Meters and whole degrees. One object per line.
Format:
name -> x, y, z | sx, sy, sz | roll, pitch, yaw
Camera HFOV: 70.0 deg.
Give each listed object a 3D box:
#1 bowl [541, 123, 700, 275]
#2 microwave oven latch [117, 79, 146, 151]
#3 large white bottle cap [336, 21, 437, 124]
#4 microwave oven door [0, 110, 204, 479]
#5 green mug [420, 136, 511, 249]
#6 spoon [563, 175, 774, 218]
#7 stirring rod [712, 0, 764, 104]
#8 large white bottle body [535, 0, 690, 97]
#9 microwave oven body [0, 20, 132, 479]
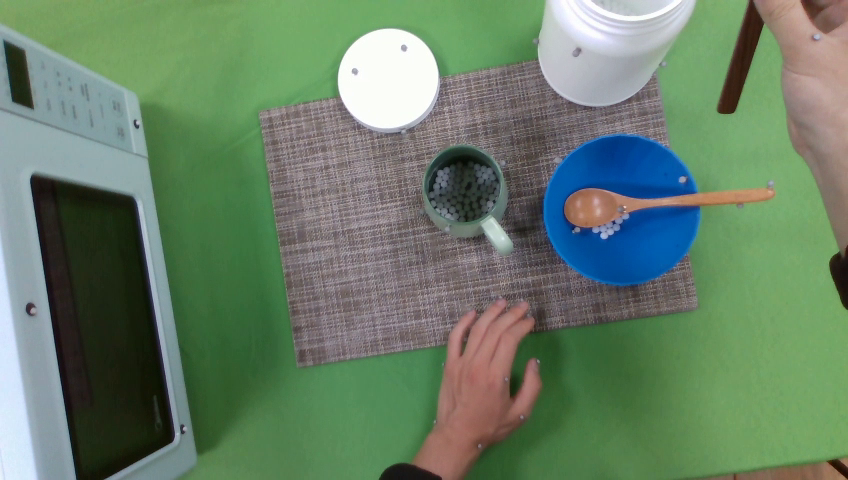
bowl -> 0.194, -0.038, 0.630 | 0.151, 0.077, 0.151 | 0, 89, 5
microwave oven latch -> -0.339, -0.138, 0.683 | 0.030, 0.029, 0.079 | -12, 89, 4
large white bottle cap -> -0.042, -0.189, 0.683 | 0.115, 0.018, 0.114 | 0, 88, 5
microwave oven door -> -0.310, 0.073, 0.575 | 0.039, 0.244, 0.355 | -12, 88, 5
green mug -> 0.050, -0.045, 0.629 | 0.092, 0.105, 0.125 | -36, 86, 3
spoon -> 0.235, -0.047, 0.598 | 0.193, 0.022, 0.041 | -3, 91, 29
stirring rod -> 0.214, -0.162, 0.390 | 0.014, 0.178, 0.005 | 3, 49, 10
large white bottle body -> 0.178, -0.228, 0.581 | 0.130, 0.185, 0.130 | 0, 85, 6
microwave oven body -> -0.461, 0.060, 0.593 | 0.326, 0.260, 0.441 | -11, 88, 4
